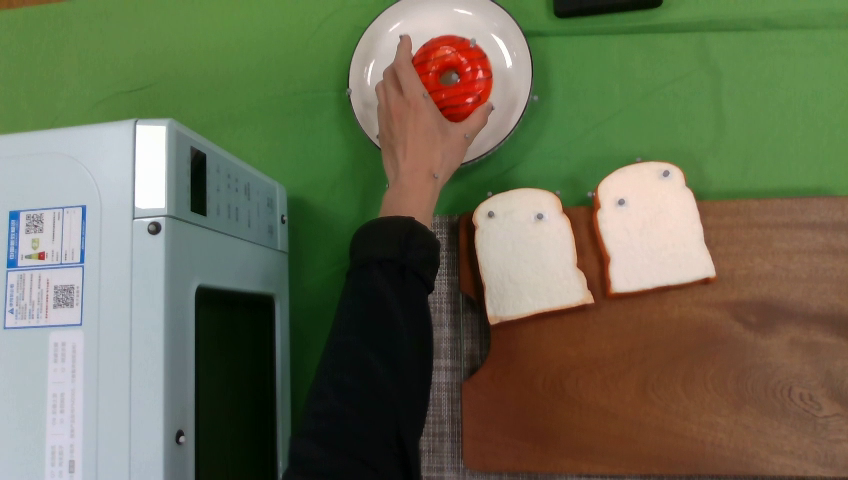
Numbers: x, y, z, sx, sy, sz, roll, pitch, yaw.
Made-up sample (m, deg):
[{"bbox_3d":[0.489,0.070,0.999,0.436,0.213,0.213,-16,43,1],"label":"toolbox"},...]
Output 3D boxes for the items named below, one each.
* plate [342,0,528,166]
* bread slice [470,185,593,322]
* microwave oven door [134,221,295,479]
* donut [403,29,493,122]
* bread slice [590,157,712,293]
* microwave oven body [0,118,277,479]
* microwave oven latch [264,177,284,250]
[{"bbox_3d":[0.012,-0.182,0.682,0.207,0.039,0.207,-1,83,9],"label":"plate"},{"bbox_3d":[0.101,0.011,0.625,0.107,0.018,0.133,-16,80,6],"label":"bread slice"},{"bbox_3d":[-0.178,0.175,0.546,0.039,0.245,0.354,-5,82,8],"label":"microwave oven door"},{"bbox_3d":[0.025,-0.175,0.645,0.099,0.048,0.099,-1,86,11],"label":"donut"},{"bbox_3d":[0.222,-0.019,0.611,0.105,0.019,0.131,-12,81,6],"label":"bread slice"},{"bbox_3d":[-0.323,0.146,0.577,0.326,0.261,0.440,-5,83,8],"label":"microwave oven body"},{"bbox_3d":[-0.173,-0.028,0.674,0.030,0.029,0.079,-3,83,8],"label":"microwave oven latch"}]
